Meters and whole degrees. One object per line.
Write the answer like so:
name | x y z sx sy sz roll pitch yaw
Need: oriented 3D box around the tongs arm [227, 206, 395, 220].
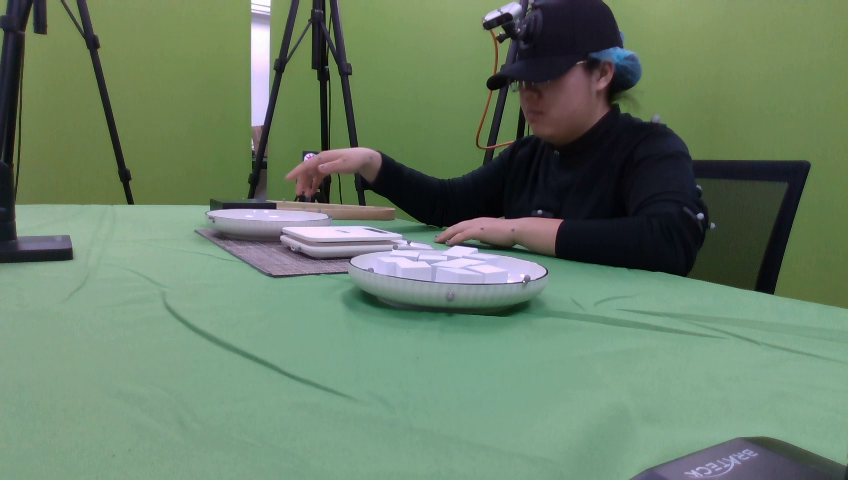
tongs arm | -0.247 -0.061 1.381 0.389 0.028 0.028 0 5 -21

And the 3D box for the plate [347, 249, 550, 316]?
plate | 0.025 0.042 0.627 0.209 0.038 0.209 2 7 0

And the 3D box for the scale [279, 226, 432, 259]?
scale | -0.100 0.001 0.899 0.202 0.031 0.148 -1 9 -31

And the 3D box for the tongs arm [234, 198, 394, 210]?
tongs arm | -0.263 -0.076 1.460 0.386 0.026 0.050 3 8 -8

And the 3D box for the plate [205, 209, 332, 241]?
plate | -0.262 -0.026 1.030 0.208 0.039 0.207 3 7 0
